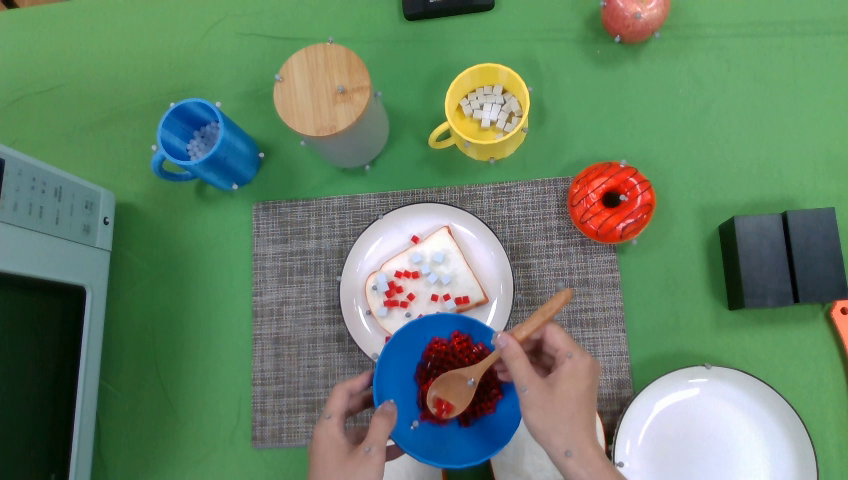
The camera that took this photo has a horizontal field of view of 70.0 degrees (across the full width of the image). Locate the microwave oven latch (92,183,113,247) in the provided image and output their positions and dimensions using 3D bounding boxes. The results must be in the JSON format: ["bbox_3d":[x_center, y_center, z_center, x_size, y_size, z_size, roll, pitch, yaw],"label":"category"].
[{"bbox_3d":[-0.417,-0.032,0.771,0.030,0.029,0.079,1,81,7],"label":"microwave oven latch"}]

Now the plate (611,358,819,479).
[{"bbox_3d":[0.305,0.232,0.651,0.209,0.038,0.208,-1,80,8],"label":"plate"}]

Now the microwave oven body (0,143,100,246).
[{"bbox_3d":[-0.577,0.128,0.666,0.326,0.261,0.440,-1,81,7],"label":"microwave oven body"}]

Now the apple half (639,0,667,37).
[{"bbox_3d":[0.260,-0.290,0.728,0.053,0.075,0.080,-36,74,-5],"label":"apple half"}]

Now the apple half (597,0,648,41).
[{"bbox_3d":[0.229,-0.266,0.726,0.033,0.081,0.081,-37,77,-5],"label":"apple half"}]

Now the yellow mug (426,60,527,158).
[{"bbox_3d":[0.061,-0.149,0.734,0.131,0.064,0.099,-28,78,2],"label":"yellow mug"}]

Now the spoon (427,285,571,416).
[{"bbox_3d":[0.068,0.106,0.568,0.041,0.022,0.194,51,121,14],"label":"spoon"}]

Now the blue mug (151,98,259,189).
[{"bbox_3d":[-0.278,-0.108,0.751,0.116,0.106,0.082,-30,77,2],"label":"blue mug"}]

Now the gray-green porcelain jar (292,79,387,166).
[{"bbox_3d":[-0.103,-0.151,0.725,0.106,0.127,0.105,-1,80,7],"label":"gray-green porcelain jar"}]

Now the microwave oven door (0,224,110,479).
[{"bbox_3d":[-0.434,0.166,0.636,0.039,0.245,0.354,-2,80,8],"label":"microwave oven door"}]

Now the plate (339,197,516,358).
[{"bbox_3d":[0.004,0.054,0.717,0.207,0.039,0.207,-1,80,7],"label":"plate"}]

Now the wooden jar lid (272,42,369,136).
[{"bbox_3d":[-0.112,-0.163,0.664,0.108,0.021,0.108,-2,78,8],"label":"wooden jar lid"}]

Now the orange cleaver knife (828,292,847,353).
[{"bbox_3d":[0.489,0.150,0.651,0.077,0.012,0.210,-3,79,1],"label":"orange cleaver knife"}]

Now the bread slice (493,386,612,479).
[{"bbox_3d":[0.136,0.215,0.649,0.134,0.018,0.106,-9,75,-14],"label":"bread slice"}]

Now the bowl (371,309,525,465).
[{"bbox_3d":[0.019,0.153,0.612,0.152,0.077,0.150,4,63,-8],"label":"bowl"}]

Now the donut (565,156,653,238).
[{"bbox_3d":[0.214,-0.050,0.704,0.099,0.048,0.098,-1,81,7],"label":"donut"}]

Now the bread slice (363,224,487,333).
[{"bbox_3d":[-0.005,0.056,0.720,0.131,0.019,0.104,-30,78,0],"label":"bread slice"}]
